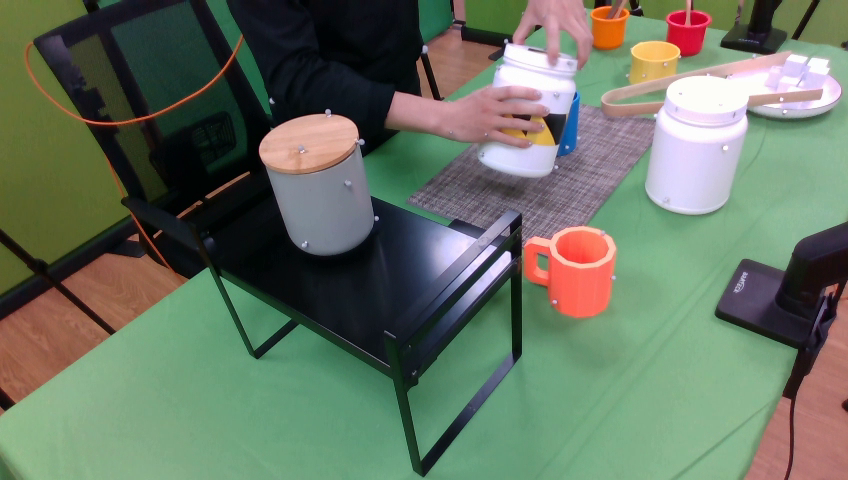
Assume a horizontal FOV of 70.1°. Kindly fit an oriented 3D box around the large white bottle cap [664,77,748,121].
[{"bbox_3d":[0.421,-0.212,0.905,0.115,0.018,0.114,-4,40,4],"label":"large white bottle cap"}]

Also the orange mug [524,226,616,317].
[{"bbox_3d":[0.201,0.039,0.845,0.125,0.101,0.083,18,47,21],"label":"orange mug"}]

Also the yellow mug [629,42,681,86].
[{"bbox_3d":[0.495,-0.389,1.321,0.100,0.064,0.130,-14,40,-6],"label":"yellow mug"}]

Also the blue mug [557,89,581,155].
[{"bbox_3d":[0.233,-0.218,1.127,0.117,0.106,0.081,-23,43,-16],"label":"blue mug"}]

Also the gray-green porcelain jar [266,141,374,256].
[{"bbox_3d":[-0.117,-0.054,0.703,0.106,0.127,0.105,-4,40,4],"label":"gray-green porcelain jar"}]

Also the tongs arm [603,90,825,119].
[{"bbox_3d":[0.546,-0.262,1.163,0.386,0.028,0.028,-1,50,18],"label":"tongs arm"}]

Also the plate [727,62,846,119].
[{"bbox_3d":[0.710,-0.292,1.198,0.207,0.039,0.206,-4,40,4],"label":"plate"}]

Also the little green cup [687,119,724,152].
[{"bbox_3d":[0.514,-0.191,1.109,0.061,0.039,0.061,-5,40,5],"label":"little green cup"}]

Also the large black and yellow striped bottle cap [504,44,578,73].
[{"bbox_3d":[0.182,-0.283,0.938,0.115,0.019,0.114,10,25,-4],"label":"large black and yellow striped bottle cap"}]

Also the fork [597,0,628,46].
[{"bbox_3d":[0.479,-0.558,1.455,0.028,0.019,0.207,35,100,37],"label":"fork"}]

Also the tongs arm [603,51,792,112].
[{"bbox_3d":[0.552,-0.319,1.224,0.384,0.027,0.050,-11,44,7],"label":"tongs arm"}]

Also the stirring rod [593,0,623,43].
[{"bbox_3d":[0.460,-0.557,1.461,0.014,0.176,0.006,35,11,22],"label":"stirring rod"}]

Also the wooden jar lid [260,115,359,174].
[{"bbox_3d":[-0.124,-0.101,0.662,0.108,0.021,0.108,-4,41,4],"label":"wooden jar lid"}]

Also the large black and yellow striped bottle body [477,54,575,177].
[{"bbox_3d":[0.166,-0.207,0.971,0.131,0.184,0.130,10,24,-4],"label":"large black and yellow striped bottle body"}]

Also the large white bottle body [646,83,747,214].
[{"bbox_3d":[0.431,-0.148,0.959,0.130,0.185,0.130,-4,41,4],"label":"large white bottle body"}]

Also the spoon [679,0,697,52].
[{"bbox_3d":[0.614,-0.526,1.402,0.041,0.022,0.193,3,86,11],"label":"spoon"}]
